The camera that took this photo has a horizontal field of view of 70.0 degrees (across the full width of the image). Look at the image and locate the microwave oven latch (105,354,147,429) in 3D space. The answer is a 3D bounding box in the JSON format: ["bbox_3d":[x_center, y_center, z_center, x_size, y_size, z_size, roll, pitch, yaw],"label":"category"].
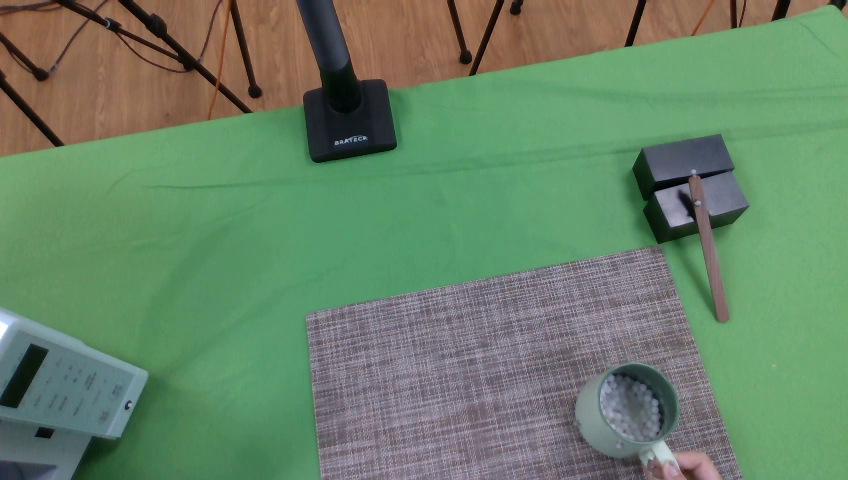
[{"bbox_3d":[-0.347,0.171,0.689,0.030,0.030,0.079,18,71,10],"label":"microwave oven latch"}]

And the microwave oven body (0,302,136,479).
[{"bbox_3d":[-0.549,0.251,0.563,0.325,0.262,0.439,16,70,9],"label":"microwave oven body"}]

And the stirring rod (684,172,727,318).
[{"bbox_3d":[0.332,0.006,0.714,0.014,0.006,0.176,-13,92,10],"label":"stirring rod"}]

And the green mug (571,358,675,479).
[{"bbox_3d":[0.215,0.187,0.629,0.092,0.105,0.124,-27,69,-8],"label":"green mug"}]
